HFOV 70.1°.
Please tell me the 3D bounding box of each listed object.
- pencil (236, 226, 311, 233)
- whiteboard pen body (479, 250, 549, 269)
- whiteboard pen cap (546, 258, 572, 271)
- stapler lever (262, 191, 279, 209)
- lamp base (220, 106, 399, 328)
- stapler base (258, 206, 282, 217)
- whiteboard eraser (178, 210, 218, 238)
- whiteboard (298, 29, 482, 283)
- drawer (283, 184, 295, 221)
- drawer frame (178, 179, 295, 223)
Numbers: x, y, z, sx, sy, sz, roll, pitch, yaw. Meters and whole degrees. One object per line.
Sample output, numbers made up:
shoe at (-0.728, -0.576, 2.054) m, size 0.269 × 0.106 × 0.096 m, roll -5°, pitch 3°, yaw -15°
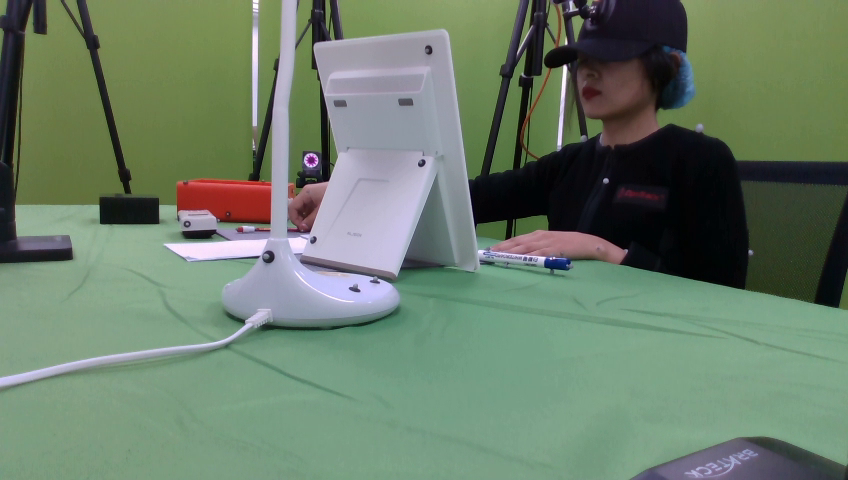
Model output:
pencil at (-0.241, -0.018, 1.098) m, size 0.195 × 0.012 × 0.012 m, roll 0°, pitch 8°, yaw -31°
whiteboard pen body at (0.130, 0.028, 0.827) m, size 0.140 × 0.017 × 0.017 m, roll 7°, pitch 8°, yaw 38°
whiteboard pen cap at (0.175, 0.032, 0.790) m, size 0.033 × 0.018 × 0.018 m, roll 3°, pitch 7°, yaw 37°
stapler lever at (-0.329, -0.086, 1.306) m, size 0.027 × 0.040 × 0.118 m, roll 9°, pitch 3°, yaw -9°
lamp base at (-0.101, -0.023, 0.531) m, size 0.160 × 0.180 × 0.179 m, roll 4°, pitch 10°, yaw 10°
stapler base at (-0.331, -0.064, 1.305) m, size 0.041 × 0.024 × 0.130 m, roll 9°, pitch -2°, yaw -9°
whiteboard eraser at (-0.380, -0.027, 1.014) m, size 0.056 × 0.042 × 0.112 m, roll 0°, pitch 8°, yaw -25°
whiteboard at (-0.075, -0.082, 0.742) m, size 0.216 × 0.305 × 0.144 m, roll 9°, pitch 29°, yaw 37°
drawer at (-0.394, -0.086, 1.317) m, size 0.212 × 0.073 × 0.194 m, roll 1°, pitch 8°, yaw -7°
drawer frame at (-0.397, -0.088, 1.315) m, size 0.214 × 0.082 × 0.201 m, roll 1°, pitch 8°, yaw -7°
